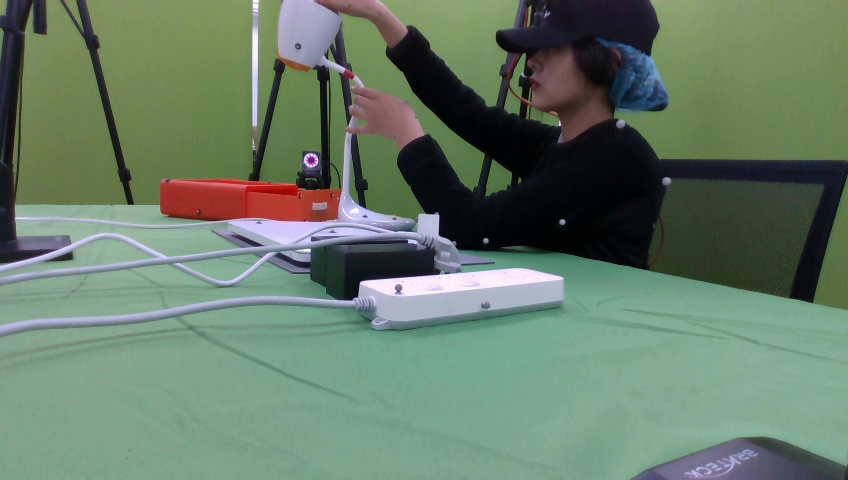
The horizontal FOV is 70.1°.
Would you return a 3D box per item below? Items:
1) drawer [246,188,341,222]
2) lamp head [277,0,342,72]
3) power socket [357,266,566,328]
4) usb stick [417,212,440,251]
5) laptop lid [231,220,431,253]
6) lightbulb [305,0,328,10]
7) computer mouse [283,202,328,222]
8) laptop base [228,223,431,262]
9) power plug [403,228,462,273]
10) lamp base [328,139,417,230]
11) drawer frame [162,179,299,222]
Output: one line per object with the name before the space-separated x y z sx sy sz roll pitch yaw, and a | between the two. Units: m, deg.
drawer | -0.312 -0.078 1.296 0.211 0.073 0.195 4 9 17
lamp head | -0.220 -0.375 1.126 0.112 0.123 0.112 17 10 -3
power socket | 0.042 0.049 0.573 0.228 0.032 0.072 -3 8 -34
usb stick | 0.005 -0.003 0.721 0.027 0.059 0.021 0 -3 -3
laptop lid | -0.142 -0.009 0.942 0.243 0.013 0.355 1 7 -31
lightbulb | -0.214 -0.402 1.116 0.059 0.107 0.059 21 12 -4
computer mouse | -0.251 -0.060 1.287 0.063 0.041 0.117 3 4 11
laptop base | -0.145 0.002 0.942 0.237 0.023 0.352 2 6 -32
power plug | 0.006 0.016 0.647 0.073 0.052 0.035 17 12 -5
lamp base | -0.105 -0.113 1.213 0.180 0.180 0.160 -3 6 -15
drawer frame | -0.418 -0.089 1.329 0.213 0.082 0.202 4 8 18
